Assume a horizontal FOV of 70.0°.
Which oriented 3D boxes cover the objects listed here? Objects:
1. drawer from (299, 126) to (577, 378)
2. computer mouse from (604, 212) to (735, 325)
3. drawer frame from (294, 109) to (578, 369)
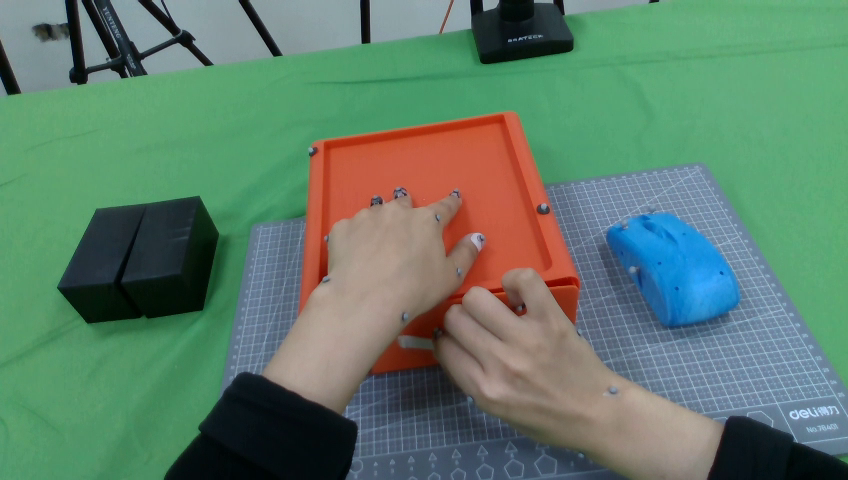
[{"bbox_3d":[0.004,-0.001,0.507,0.194,0.074,0.209,-9,45,1],"label":"drawer"},{"bbox_3d":[0.196,0.016,0.492,0.063,0.041,0.116,-15,42,-2],"label":"computer mouse"},{"bbox_3d":[0.002,-0.007,0.512,0.202,0.083,0.211,-9,45,1],"label":"drawer frame"}]
